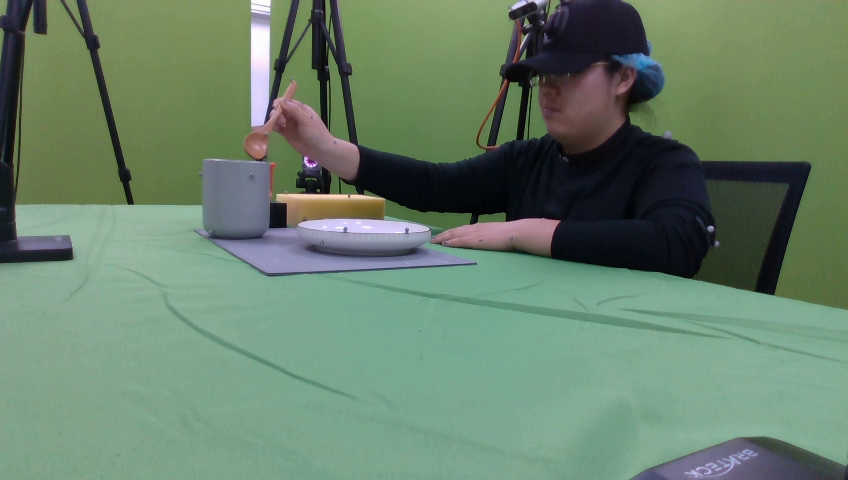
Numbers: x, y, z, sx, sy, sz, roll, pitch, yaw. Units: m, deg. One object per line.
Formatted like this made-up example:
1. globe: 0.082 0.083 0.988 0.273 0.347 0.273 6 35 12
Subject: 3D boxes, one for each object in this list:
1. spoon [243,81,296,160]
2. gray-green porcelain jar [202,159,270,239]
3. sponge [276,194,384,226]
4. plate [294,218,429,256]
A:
1. spoon: -0.258 -0.209 1.037 0.042 0.193 0.021 41 -36 -26
2. gray-green porcelain jar: -0.310 -0.068 0.999 0.106 0.126 0.106 3 8 0
3. sponge: -0.202 -0.066 1.312 0.208 0.061 0.117 -3 9 -35
4. plate: -0.096 -0.005 0.936 0.208 0.039 0.207 3 7 0
